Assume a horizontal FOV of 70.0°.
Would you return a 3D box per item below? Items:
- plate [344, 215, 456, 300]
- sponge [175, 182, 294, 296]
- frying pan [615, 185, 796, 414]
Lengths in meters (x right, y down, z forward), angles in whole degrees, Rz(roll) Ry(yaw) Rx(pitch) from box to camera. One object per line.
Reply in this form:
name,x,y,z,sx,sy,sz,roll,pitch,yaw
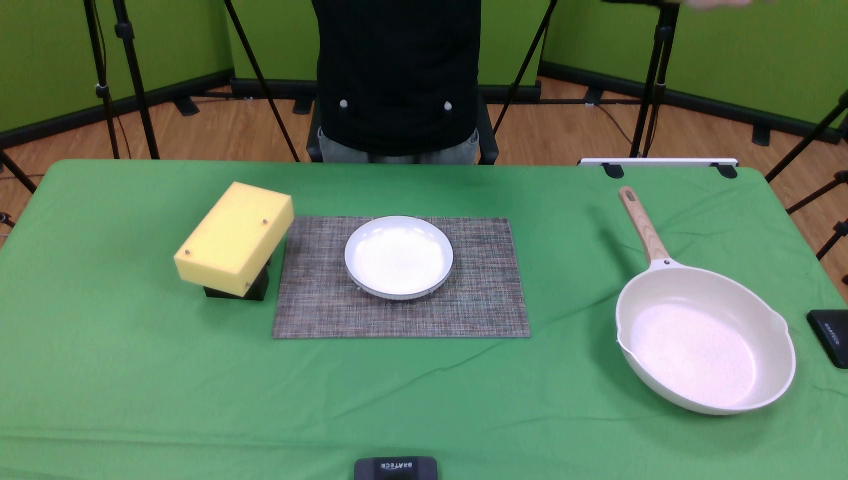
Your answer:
plate,-0.045,0.035,1.146,0.208,0.039,0.206,2,46,-2
sponge,-0.333,-0.007,1.086,0.118,0.061,0.206,13,47,9
frying pan,0.449,0.087,1.092,0.307,0.103,0.484,-4,55,-10
